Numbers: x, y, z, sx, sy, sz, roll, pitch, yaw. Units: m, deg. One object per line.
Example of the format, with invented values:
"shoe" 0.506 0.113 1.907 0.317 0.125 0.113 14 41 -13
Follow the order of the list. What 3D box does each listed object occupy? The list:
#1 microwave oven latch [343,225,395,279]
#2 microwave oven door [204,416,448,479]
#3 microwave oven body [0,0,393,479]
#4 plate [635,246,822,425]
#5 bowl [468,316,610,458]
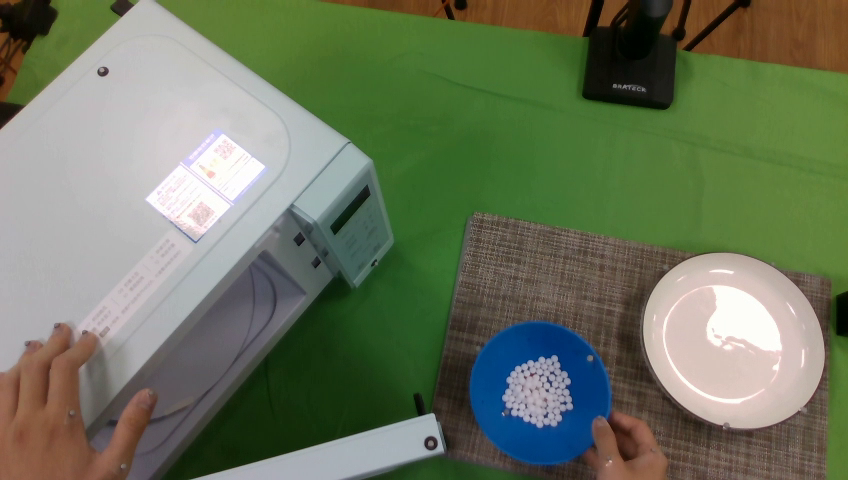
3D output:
"microwave oven latch" -0.069 0.009 0.746 0.030 0.029 0.079 39 78 13
"microwave oven door" -0.153 0.226 0.573 0.356 0.245 0.039 -15 71 -3
"microwave oven body" -0.299 0.027 0.647 0.324 0.261 0.441 37 78 12
"plate" 0.351 0.111 0.713 0.207 0.039 0.206 0 72 2
"bowl" 0.125 0.166 0.681 0.151 0.077 0.150 -1 72 4
